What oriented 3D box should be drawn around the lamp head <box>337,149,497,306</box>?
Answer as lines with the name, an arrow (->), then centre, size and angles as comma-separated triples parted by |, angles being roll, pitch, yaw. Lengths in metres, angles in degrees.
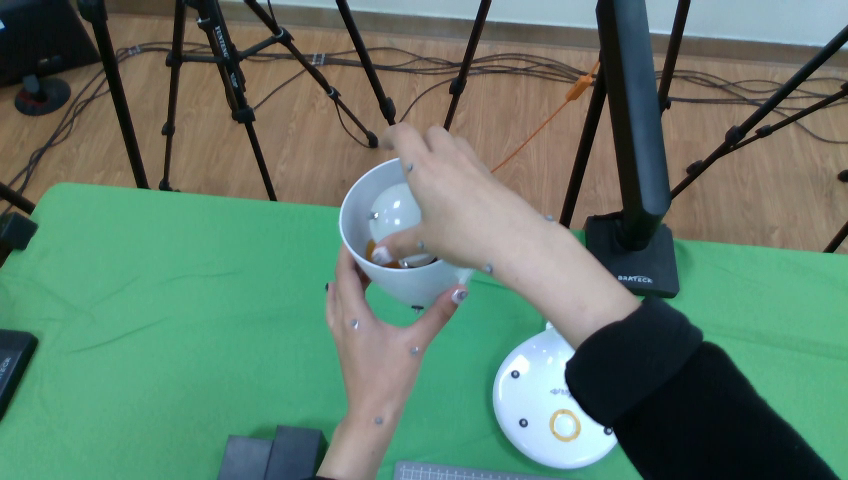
lamp head -> 0.001, 0.001, 0.507 | 0.112, 0.124, 0.111 | -8, 56, 13

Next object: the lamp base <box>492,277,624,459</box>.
lamp base -> 0.161, 0.134, 0.682 | 0.161, 0.182, 0.177 | -6, 56, -4

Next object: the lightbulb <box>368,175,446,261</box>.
lightbulb -> -0.010, -0.009, 0.483 | 0.059, 0.108, 0.059 | -3, 63, 7
